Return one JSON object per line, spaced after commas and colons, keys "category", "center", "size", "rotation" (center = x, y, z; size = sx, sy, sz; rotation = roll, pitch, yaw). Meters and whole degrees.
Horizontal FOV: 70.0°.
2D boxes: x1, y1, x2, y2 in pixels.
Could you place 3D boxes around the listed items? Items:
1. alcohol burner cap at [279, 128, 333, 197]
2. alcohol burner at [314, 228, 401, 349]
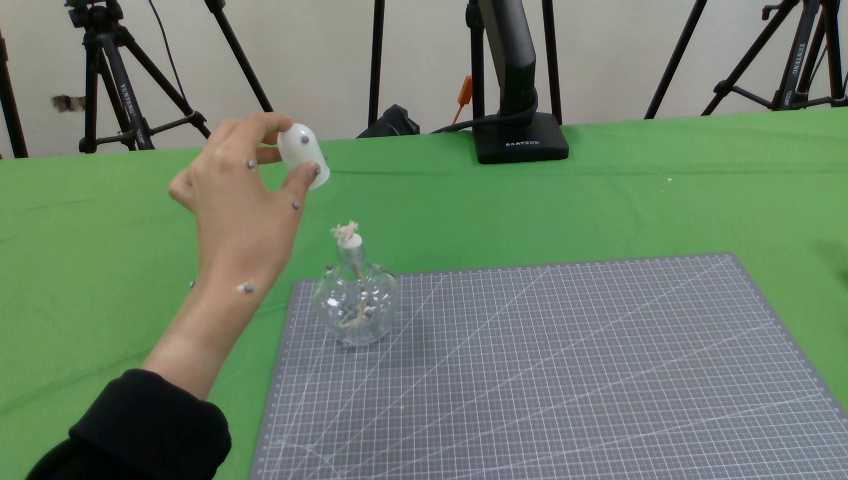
{"category": "alcohol burner cap", "center": [-0.088, -0.059, 0.442], "size": [0.034, 0.048, 0.033], "rotation": [-5, 45, 5]}
{"category": "alcohol burner", "center": [-0.059, 0.038, 0.528], "size": [0.078, 0.120, 0.077], "rotation": [-1, 38, 1]}
